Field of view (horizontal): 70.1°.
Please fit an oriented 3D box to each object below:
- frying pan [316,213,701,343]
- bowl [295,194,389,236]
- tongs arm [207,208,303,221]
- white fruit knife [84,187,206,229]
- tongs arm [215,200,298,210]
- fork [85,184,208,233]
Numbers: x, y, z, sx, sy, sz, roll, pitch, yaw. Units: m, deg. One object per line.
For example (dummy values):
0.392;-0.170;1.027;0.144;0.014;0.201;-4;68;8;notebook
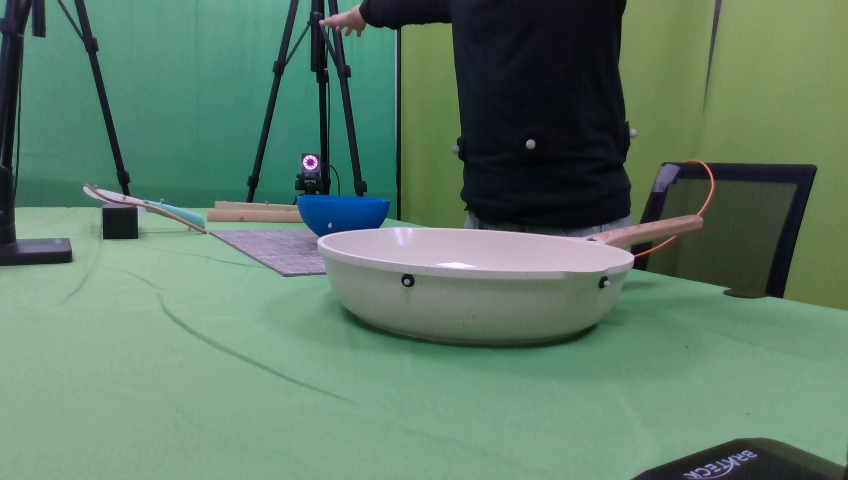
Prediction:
0.133;0.013;0.629;0.490;0.102;0.305;-12;14;-30;frying pan
-0.132;-0.032;0.980;0.151;0.077;0.151;2;7;0;bowl
-0.277;-0.055;1.347;0.389;0.028;0.028;0;5;-22;tongs arm
-0.488;-0.059;1.071;0.208;0.027;0.016;17;4;-33;white fruit knife
-0.295;-0.070;1.425;0.386;0.026;0.050;2;8;-9;tongs arm
-0.462;-0.051;1.020;0.208;0.018;0.028;22;-8;-37;fork
